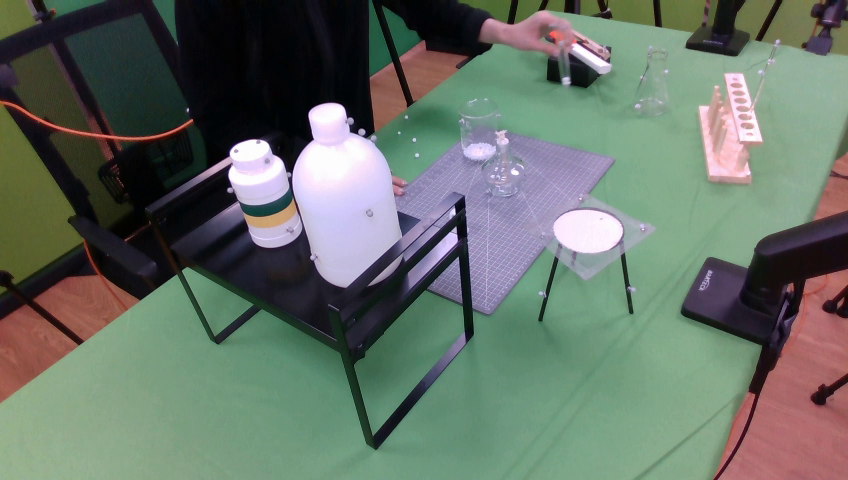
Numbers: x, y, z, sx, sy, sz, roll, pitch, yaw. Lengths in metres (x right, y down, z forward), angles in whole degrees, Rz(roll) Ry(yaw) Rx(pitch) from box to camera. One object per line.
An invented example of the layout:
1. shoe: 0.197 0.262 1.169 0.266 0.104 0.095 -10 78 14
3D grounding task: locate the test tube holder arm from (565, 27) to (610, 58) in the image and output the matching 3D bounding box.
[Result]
1. test tube holder arm: 0.369 -0.450 1.373 0.013 0.015 0.177 -40 41 10

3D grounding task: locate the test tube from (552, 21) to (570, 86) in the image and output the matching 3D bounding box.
1. test tube: 0.251 -0.336 1.102 0.017 0.151 0.017 -9 58 15

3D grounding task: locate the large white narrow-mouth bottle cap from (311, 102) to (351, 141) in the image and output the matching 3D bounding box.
1. large white narrow-mouth bottle cap: -0.089 -0.113 0.579 0.038 0.024 0.037 -4 40 3

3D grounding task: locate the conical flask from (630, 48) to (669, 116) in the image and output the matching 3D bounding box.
1. conical flask: 0.456 -0.317 1.205 0.075 0.122 0.075 -4 41 4

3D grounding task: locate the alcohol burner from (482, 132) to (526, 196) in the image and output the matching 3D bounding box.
1. alcohol burner: 0.137 -0.136 1.042 0.078 0.119 0.077 -4 43 4

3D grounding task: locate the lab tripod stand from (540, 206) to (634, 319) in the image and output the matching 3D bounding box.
1. lab tripod stand: 0.218 0.034 0.821 0.148 0.132 0.147 -4 42 4

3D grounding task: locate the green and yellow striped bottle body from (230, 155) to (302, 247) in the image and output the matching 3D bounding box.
1. green and yellow striped bottle body: -0.188 -0.055 0.714 0.063 0.120 0.063 -4 41 4

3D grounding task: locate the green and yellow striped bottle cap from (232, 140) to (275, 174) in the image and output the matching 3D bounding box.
1. green and yellow striped bottle cap: -0.192 -0.094 0.680 0.045 0.020 0.045 -5 39 5

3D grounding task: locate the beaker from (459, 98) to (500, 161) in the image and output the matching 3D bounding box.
1. beaker: 0.104 -0.208 1.142 0.074 0.101 0.083 -20 42 -15

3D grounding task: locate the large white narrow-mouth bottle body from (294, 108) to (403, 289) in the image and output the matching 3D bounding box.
1. large white narrow-mouth bottle body: -0.082 -0.047 0.634 0.102 0.195 0.101 -4 40 4

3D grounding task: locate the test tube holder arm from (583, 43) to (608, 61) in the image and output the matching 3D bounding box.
1. test tube holder arm: 0.379 -0.420 1.341 0.010 0.015 0.087 -39 41 10

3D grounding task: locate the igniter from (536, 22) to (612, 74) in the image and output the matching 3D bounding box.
1. igniter: 0.330 -0.439 1.366 0.057 0.025 0.274 -11 41 -19

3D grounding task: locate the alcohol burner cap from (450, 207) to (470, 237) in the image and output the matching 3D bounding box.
1. alcohol burner cap: 0.057 -0.032 0.987 0.034 0.048 0.033 -4 41 4

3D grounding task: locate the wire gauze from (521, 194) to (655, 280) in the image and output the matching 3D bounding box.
1. wire gauze: 0.207 -0.012 0.772 0.122 0.011 0.124 -28 44 -20

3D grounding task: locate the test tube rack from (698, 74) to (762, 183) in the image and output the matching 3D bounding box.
1. test tube rack: 0.547 -0.208 1.095 0.066 0.085 0.242 5 42 15

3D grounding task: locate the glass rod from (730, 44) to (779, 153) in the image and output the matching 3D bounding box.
1. glass rod: 0.555 -0.234 1.021 0.008 0.200 0.008 2 40 -1
